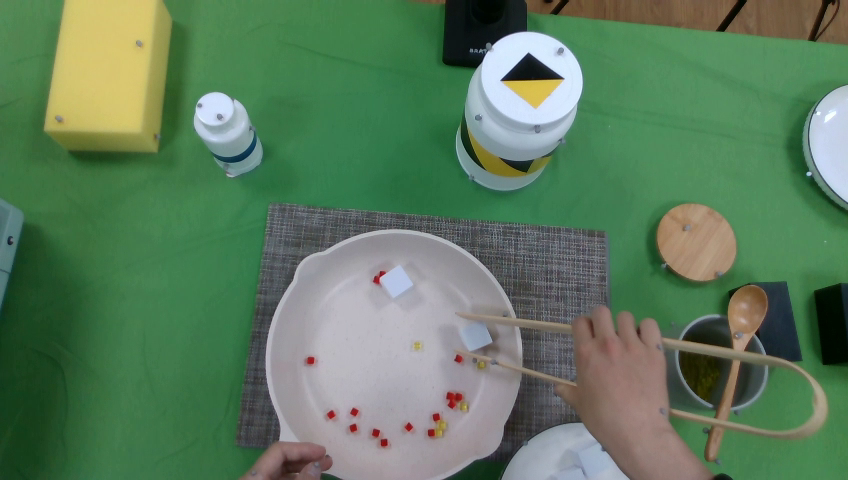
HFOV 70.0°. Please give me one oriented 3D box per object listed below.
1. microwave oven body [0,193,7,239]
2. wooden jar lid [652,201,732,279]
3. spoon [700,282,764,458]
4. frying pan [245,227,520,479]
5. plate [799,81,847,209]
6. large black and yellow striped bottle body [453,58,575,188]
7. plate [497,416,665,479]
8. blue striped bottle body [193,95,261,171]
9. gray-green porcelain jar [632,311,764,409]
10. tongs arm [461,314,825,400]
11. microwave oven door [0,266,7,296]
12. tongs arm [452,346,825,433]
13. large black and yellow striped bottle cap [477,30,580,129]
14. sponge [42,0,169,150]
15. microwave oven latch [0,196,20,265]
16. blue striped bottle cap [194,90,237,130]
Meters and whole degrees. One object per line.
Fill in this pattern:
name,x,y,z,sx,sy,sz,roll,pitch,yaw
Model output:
microwave oven body,-0.661,0.118,0.572,0.326,0.261,0.439,5,75,-3
wooden jar lid,0.358,0.000,0.816,0.108,0.021,0.108,1,76,-4
spoon,0.324,0.137,0.648,0.041,0.022,0.193,20,78,0
frying pan,-0.107,0.197,0.677,0.306,0.103,0.487,44,68,9
plate,0.631,-0.128,0.862,0.209,0.038,0.208,1,74,-4
large black and yellow striped bottle body,0.110,-0.155,0.753,0.131,0.184,0.130,1,74,-4
plate,0.180,0.311,0.705,0.208,0.039,0.206,1,76,-4
blue striped bottle body,-0.245,-0.136,0.751,0.063,0.121,0.062,1,74,-4
gray-green porcelain jar,0.315,0.146,0.717,0.106,0.127,0.105,1,74,-4
tongs arm,0.177,0.102,0.603,0.028,0.385,0.028,32,71,-37
microwave oven door,-0.518,0.170,0.564,0.039,0.245,0.354,5,74,-3
tongs arm,0.170,0.127,0.598,0.027,0.382,0.050,27,77,-38
large black and yellow striped bottle cap,0.116,-0.179,0.673,0.115,0.019,0.114,1,76,-4
sponge,-0.411,-0.226,0.793,0.118,0.061,0.205,0,76,-5
microwave oven latch,-0.508,-0.012,0.720,0.030,0.029,0.079,8,75,-3
blue striped bottle cap,-0.242,-0.151,0.702,0.044,0.021,0.044,1,76,-4
